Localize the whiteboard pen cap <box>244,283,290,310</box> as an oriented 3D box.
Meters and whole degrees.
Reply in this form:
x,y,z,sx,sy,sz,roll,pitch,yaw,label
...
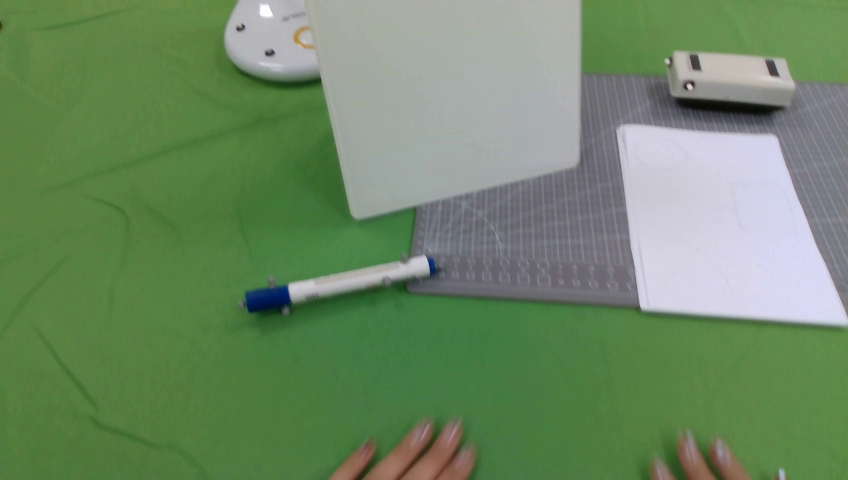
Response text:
x,y,z,sx,sy,sz,roll,pitch,yaw,label
-0.117,0.042,0.457,0.033,0.018,0.018,-10,50,-13,whiteboard pen cap

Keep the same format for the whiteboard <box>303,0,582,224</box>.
x,y,z,sx,sy,sz,roll,pitch,yaw,label
0.006,-0.201,0.516,0.217,0.308,0.142,-14,32,-9,whiteboard

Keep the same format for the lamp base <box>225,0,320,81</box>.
x,y,z,sx,sy,sz,roll,pitch,yaw,label
-0.154,-0.288,0.636,0.160,0.182,0.177,-36,55,-26,lamp base

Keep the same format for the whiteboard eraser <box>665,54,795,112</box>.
x,y,z,sx,sy,sz,roll,pitch,yaw,label
0.302,-0.156,0.605,0.112,0.042,0.055,7,51,7,whiteboard eraser

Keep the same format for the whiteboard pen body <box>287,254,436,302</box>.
x,y,z,sx,sy,sz,roll,pitch,yaw,label
-0.060,0.031,0.468,0.141,0.017,0.017,-11,50,-10,whiteboard pen body
